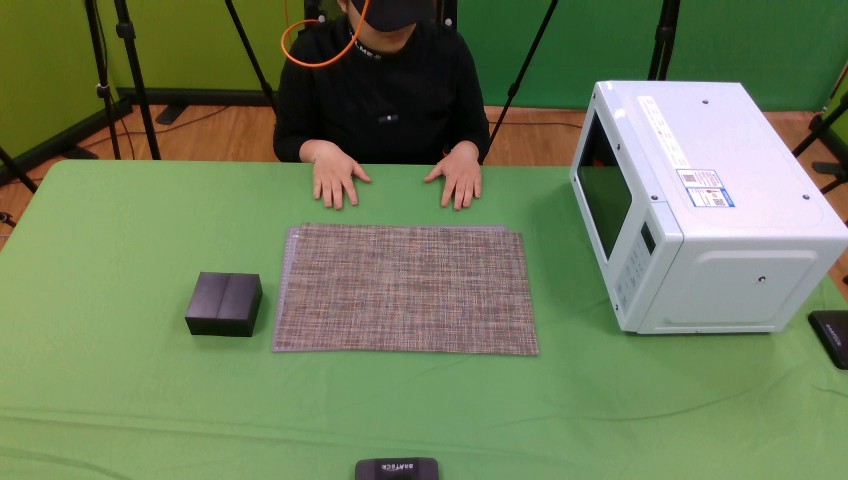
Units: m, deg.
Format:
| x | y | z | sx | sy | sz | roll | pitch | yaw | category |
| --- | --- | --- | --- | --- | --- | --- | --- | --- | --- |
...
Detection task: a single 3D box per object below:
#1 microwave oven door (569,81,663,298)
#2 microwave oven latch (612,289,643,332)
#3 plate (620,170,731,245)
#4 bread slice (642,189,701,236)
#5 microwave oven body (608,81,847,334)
| x | y | z | sx | sy | sz | roll | pitch | yaw | category |
| --- | --- | --- | --- | --- | --- | --- | --- | --- | --- |
| 0.353 | -0.104 | 1.147 | 0.039 | 0.245 | 0.353 | 0 | 46 | -4 | microwave oven door |
| 0.357 | 0.124 | 1.068 | 0.030 | 0.029 | 0.078 | 0 | 45 | -3 | microwave oven latch |
| 0.490 | -0.060 | 1.194 | 0.209 | 0.038 | 0.208 | 3 | 45 | -2 | plate |
| 0.494 | -0.056 | 1.197 | 0.105 | 0.019 | 0.131 | 6 | 42 | 4 | bread slice |
| 0.501 | -0.070 | 1.132 | 0.326 | 0.261 | 0.438 | -1 | 45 | -4 | microwave oven body |
